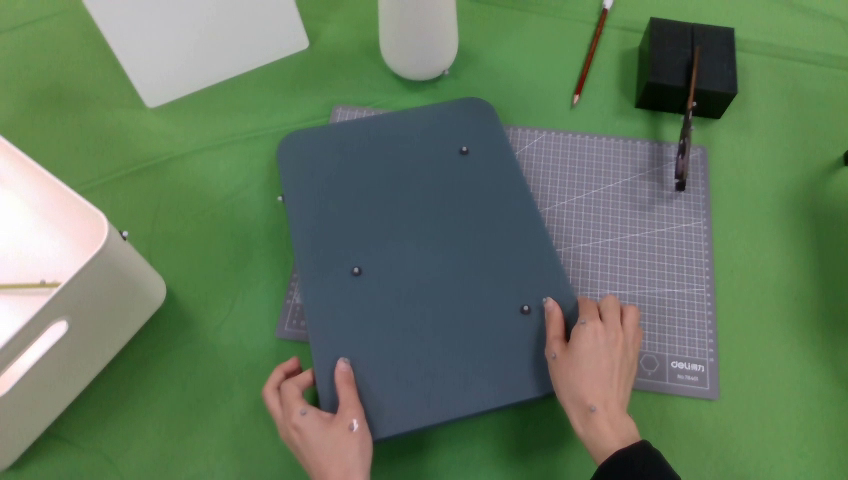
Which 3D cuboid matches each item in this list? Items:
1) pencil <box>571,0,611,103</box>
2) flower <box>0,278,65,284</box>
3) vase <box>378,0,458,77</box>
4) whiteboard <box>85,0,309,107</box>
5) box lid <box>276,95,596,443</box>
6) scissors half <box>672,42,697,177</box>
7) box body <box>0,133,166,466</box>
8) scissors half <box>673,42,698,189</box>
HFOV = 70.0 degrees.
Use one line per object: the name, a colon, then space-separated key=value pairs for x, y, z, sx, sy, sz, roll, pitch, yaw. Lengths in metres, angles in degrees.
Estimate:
pencil: x=0.214 y=-0.250 z=0.775 sx=0.012 sy=0.012 sz=0.193 roll=19 pitch=69 yaw=9
flower: x=-0.466 y=0.043 z=0.639 sx=0.361 sy=0.038 sz=0.044 roll=-2 pitch=95 yaw=4
vase: x=-0.009 y=-0.280 z=0.687 sx=0.098 sy=0.201 sz=0.097 roll=-1 pitch=65 yaw=2
whiteboard: x=-0.295 y=-0.352 z=0.696 sx=0.217 sy=0.308 sz=0.142 roll=-25 pitch=49 yaw=-9
box lid: x=-0.003 y=0.001 z=0.630 sx=0.264 sy=0.015 sz=0.368 roll=-13 pitch=61 yaw=-7
scissors half: x=0.292 y=-0.149 z=0.672 sx=0.013 sy=0.040 sz=0.174 roll=8 pitch=67 yaw=24
box body: x=-0.470 y=0.016 z=0.578 sx=0.362 sy=0.161 sz=0.253 roll=33 pitch=71 yaw=14
scissors half: x=0.301 y=-0.143 z=0.689 sx=0.012 sy=0.040 sz=0.175 roll=7 pitch=85 yaw=29
